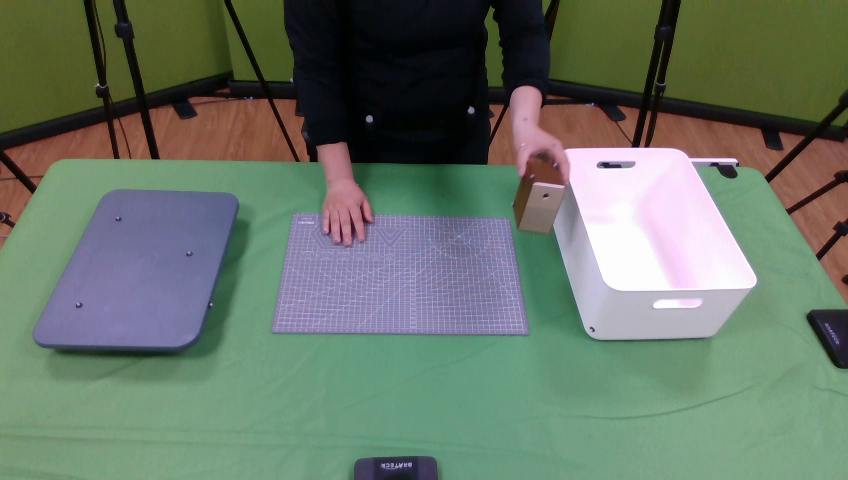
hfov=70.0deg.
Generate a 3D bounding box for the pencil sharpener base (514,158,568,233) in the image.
[{"bbox_3d":[0.199,-0.077,1.046,0.061,0.107,0.076,7,38,-6],"label":"pencil sharpener base"}]

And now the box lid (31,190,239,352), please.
[{"bbox_3d":[-0.491,0.040,1.070,0.263,0.015,0.369,1,46,-3],"label":"box lid"}]

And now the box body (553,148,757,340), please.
[{"bbox_3d":[0.395,0.002,1.127,0.254,0.161,0.361,-1,46,-5],"label":"box body"}]

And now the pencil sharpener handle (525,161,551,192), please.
[{"bbox_3d":[0.198,-0.119,1.078,0.036,0.068,0.030,14,37,-12],"label":"pencil sharpener handle"}]
